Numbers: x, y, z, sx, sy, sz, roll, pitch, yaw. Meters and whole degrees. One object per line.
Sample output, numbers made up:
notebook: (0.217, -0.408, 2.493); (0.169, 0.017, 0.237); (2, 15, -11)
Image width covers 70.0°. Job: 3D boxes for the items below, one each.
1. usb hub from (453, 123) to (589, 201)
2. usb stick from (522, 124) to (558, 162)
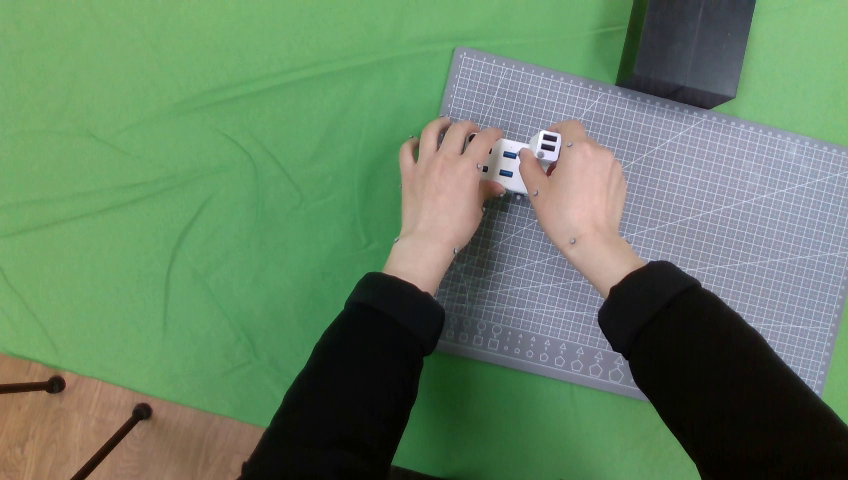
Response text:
usb hub: (0.095, -0.076, 0.594); (0.125, 0.025, 0.049); (13, 91, -4)
usb stick: (0.105, -0.088, 0.563); (0.021, 0.059, 0.027); (11, 87, -3)
